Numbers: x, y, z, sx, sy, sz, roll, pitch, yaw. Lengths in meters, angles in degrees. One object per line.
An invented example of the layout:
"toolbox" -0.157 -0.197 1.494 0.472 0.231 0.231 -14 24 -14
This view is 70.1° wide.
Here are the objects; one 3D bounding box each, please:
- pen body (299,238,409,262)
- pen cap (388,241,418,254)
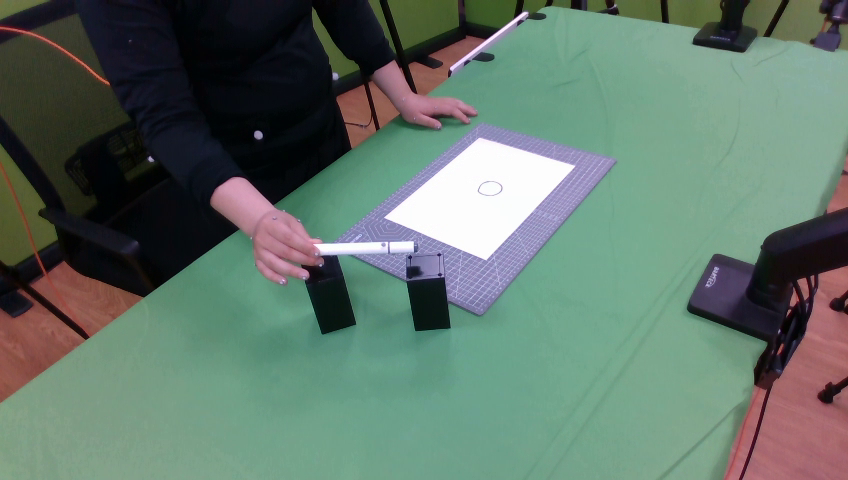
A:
"pen body" -0.091 0.011 0.792 0.144 0.017 0.017 -8 40 3
"pen cap" -0.027 0.010 0.788 0.038 0.017 0.017 -3 40 2
